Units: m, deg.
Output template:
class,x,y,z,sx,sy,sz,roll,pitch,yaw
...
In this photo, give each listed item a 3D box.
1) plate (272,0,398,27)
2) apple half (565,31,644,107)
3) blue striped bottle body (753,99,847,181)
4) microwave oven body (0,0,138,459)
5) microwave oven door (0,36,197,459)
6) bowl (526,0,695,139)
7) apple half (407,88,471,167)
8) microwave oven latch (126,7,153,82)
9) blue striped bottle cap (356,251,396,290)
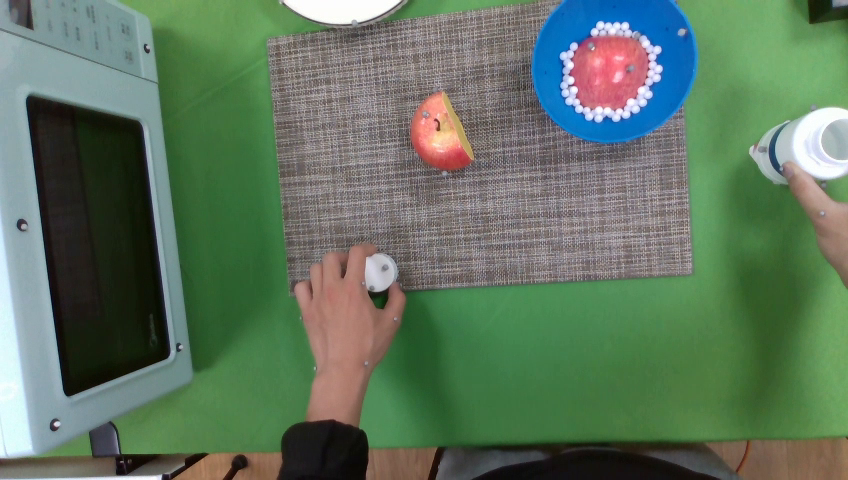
class,x,y,z,sx,sy,sz,roll,pitch,yaw
plate,-0.092,-0.336,0.663,0.207,0.039,0.207,1,94,10
apple half,0.178,-0.171,0.596,0.081,0.033,0.081,0,92,10
blue striped bottle body,0.353,-0.091,0.555,0.063,0.121,0.063,0,90,14
microwave oven body,-0.477,-0.026,0.634,0.325,0.260,0.442,-6,93,10
microwave oven door,-0.330,0.001,0.605,0.039,0.244,0.356,-7,92,11
bowl,0.178,-0.172,0.601,0.151,0.077,0.151,1,94,11
apple half,0.011,-0.112,0.637,0.053,0.074,0.081,-24,93,14
microwave oven latch,-0.335,-0.222,0.694,0.030,0.029,0.079,-6,93,10
blue striped bottle cap,-0.055,0.035,0.687,0.044,0.020,0.044,1,95,7
